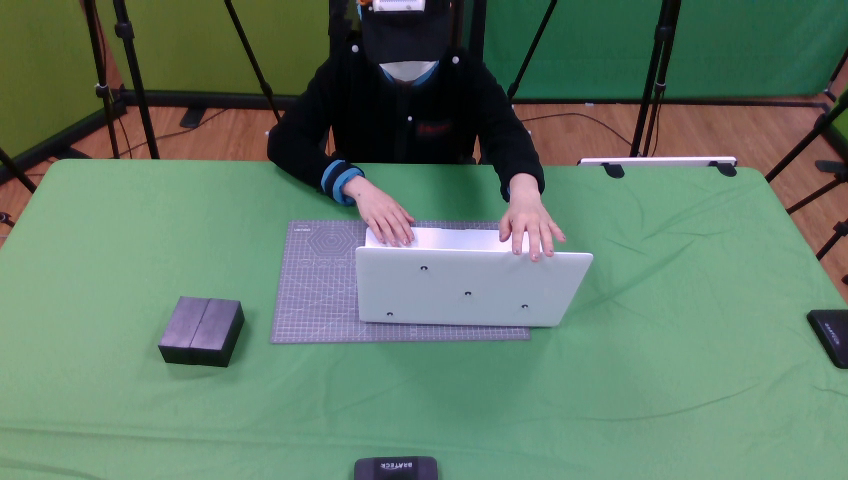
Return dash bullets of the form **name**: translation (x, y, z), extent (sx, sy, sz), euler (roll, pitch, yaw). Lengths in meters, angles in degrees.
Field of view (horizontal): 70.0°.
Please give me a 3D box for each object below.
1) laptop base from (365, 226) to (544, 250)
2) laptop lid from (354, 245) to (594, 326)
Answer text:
- **laptop base**: translation (0.061, 0.063, 1.144), extent (0.354, 0.023, 0.234), euler (2, 42, -3)
- **laptop lid**: translation (0.069, 0.080, 0.964), extent (0.357, 0.243, 0.013), euler (2, 55, -4)
